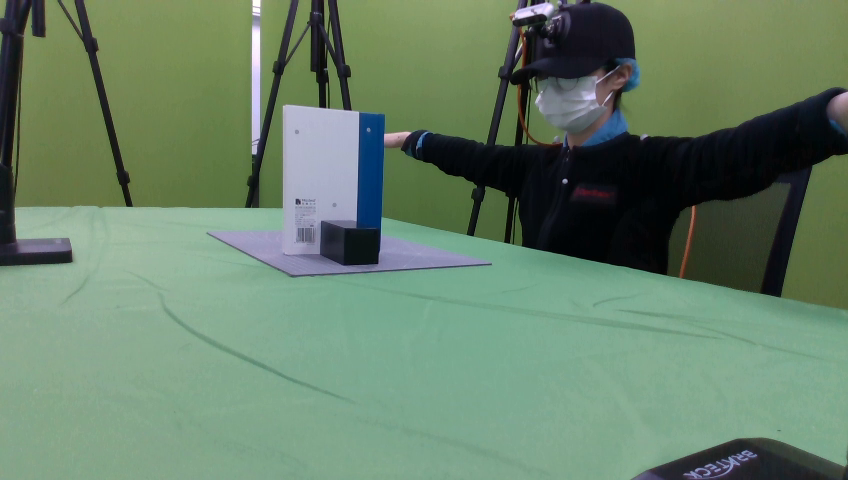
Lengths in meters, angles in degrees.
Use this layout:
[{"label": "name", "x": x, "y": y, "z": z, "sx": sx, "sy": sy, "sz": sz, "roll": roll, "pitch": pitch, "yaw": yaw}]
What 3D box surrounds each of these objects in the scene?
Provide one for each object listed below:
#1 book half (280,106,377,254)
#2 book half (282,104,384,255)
[{"label": "book half", "x": -0.137, "y": -0.084, "z": 0.886, "sx": 0.144, "sy": 0.210, "sz": 0.007, "roll": -1, "pitch": 8, "yaw": -26}, {"label": "book half", "x": -0.132, "y": -0.084, "z": 0.881, "sx": 0.149, "sy": 0.210, "sz": 0.016, "roll": -1, "pitch": 8, "yaw": -27}]
